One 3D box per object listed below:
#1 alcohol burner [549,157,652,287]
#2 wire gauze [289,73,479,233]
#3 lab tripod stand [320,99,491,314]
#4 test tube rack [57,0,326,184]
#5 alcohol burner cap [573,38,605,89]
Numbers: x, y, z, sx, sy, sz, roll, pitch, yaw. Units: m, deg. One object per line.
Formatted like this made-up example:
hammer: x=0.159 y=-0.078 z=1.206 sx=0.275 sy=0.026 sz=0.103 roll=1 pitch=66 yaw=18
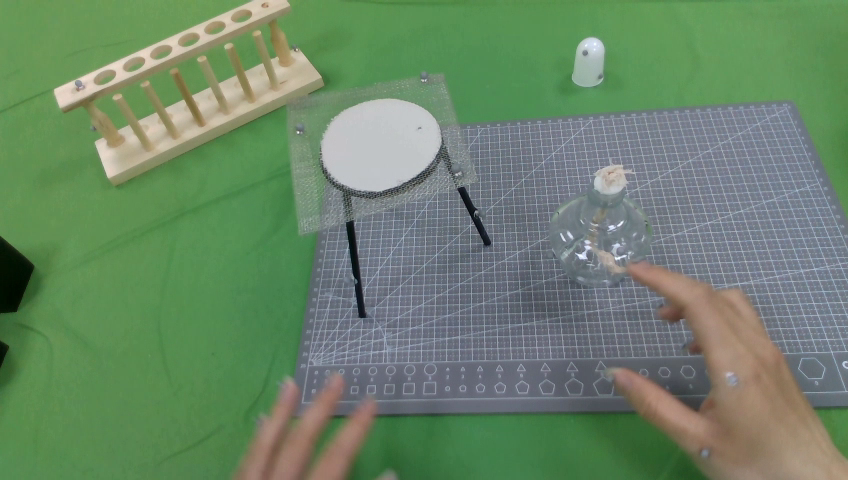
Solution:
alcohol burner: x=0.135 y=-0.017 z=0.459 sx=0.078 sy=0.120 sz=0.077 roll=-4 pitch=52 yaw=6
wire gauze: x=-0.033 y=-0.068 z=0.423 sx=0.121 sy=0.011 sz=0.124 roll=-12 pitch=56 yaw=0
lab tripod stand: x=-0.023 y=-0.028 z=0.477 sx=0.148 sy=0.133 sz=0.147 roll=-3 pitch=57 yaw=5
test tube rack: x=-0.233 y=-0.160 z=0.631 sx=0.242 sy=0.086 sz=0.066 roll=-29 pitch=57 yaw=-12
alcohol burner cap: x=0.170 y=-0.182 z=0.616 sx=0.034 sy=0.048 sz=0.033 roll=-4 pitch=56 yaw=7
